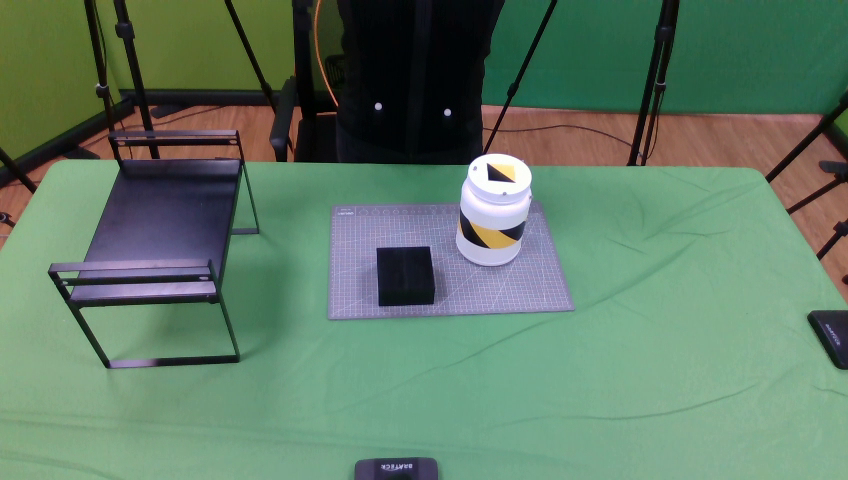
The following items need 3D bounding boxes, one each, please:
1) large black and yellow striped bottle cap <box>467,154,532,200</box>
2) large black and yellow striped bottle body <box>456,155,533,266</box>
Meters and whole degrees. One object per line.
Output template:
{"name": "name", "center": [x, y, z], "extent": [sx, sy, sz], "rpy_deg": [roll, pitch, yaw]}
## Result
{"name": "large black and yellow striped bottle cap", "center": [0.135, -0.114, 1.082], "extent": [0.115, 0.019, 0.114], "rpy_deg": [3, 46, -3]}
{"name": "large black and yellow striped bottle body", "center": [0.132, -0.056, 1.142], "extent": [0.131, 0.185, 0.130], "rpy_deg": [2, 46, -2]}
